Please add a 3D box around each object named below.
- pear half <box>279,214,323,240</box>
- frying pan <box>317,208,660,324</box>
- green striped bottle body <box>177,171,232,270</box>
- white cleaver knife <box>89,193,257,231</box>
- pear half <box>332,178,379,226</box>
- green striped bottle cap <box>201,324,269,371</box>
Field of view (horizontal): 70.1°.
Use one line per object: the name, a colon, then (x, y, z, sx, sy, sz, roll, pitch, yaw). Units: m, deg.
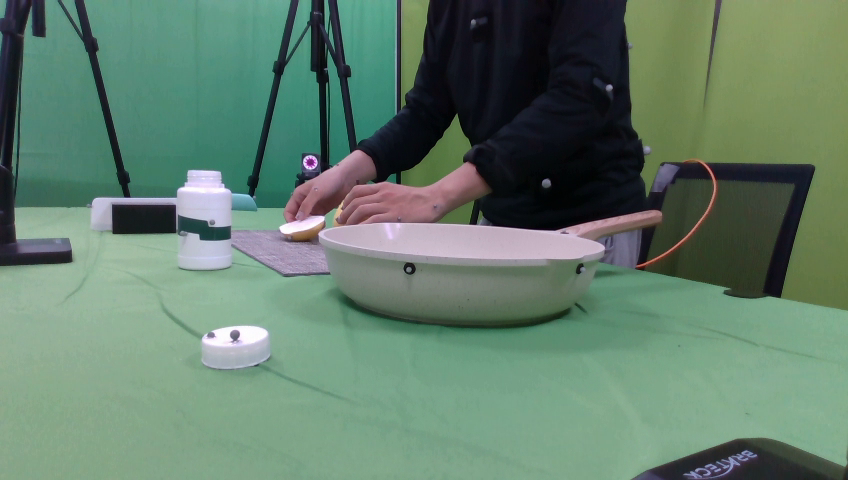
pear half: (-0.206, -0.017, 1.018, 0.087, 0.031, 0.070, -7, 17, 36)
frying pan: (0.121, 0.006, 0.691, 0.490, 0.102, 0.305, -13, 15, -33)
green striped bottle body: (-0.273, -0.026, 0.752, 0.063, 0.119, 0.063, 2, 7, 0)
white cleaver knife: (-0.454, -0.052, 1.115, 0.288, 0.066, 0.021, -4, 15, -27)
pear half: (-0.101, -0.043, 0.949, 0.055, 0.110, 0.077, 7, 11, 41)
green striped bottle cap: (-0.129, 0.073, 0.415, 0.044, 0.020, 0.044, 2, 8, 0)
